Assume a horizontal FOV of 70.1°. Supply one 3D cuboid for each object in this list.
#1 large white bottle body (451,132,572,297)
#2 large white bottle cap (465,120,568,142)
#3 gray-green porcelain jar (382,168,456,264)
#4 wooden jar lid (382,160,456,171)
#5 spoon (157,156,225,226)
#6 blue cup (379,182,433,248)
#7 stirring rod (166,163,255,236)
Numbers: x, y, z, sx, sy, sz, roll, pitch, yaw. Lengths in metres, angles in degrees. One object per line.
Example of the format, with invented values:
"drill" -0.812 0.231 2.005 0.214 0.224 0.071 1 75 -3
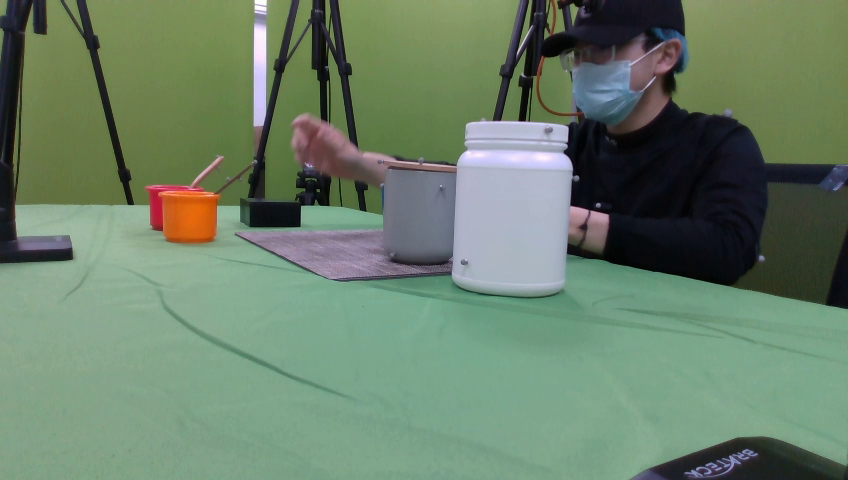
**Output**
"large white bottle body" 0.099 -0.037 0.688 0.131 0.184 0.130 2 7 0
"large white bottle cap" 0.103 -0.121 0.677 0.115 0.018 0.115 3 7 0
"gray-green porcelain jar" -0.005 -0.034 0.834 0.106 0.126 0.106 3 7 0
"wooden jar lid" -0.003 -0.096 0.826 0.108 0.020 0.108 4 10 0
"spoon" -0.425 -0.094 1.118 0.041 0.022 0.194 3 51 31
"blue cup" -0.030 -0.041 0.979 0.093 0.100 0.092 2 9 0
"stirring rod" -0.341 -0.066 0.967 0.176 0.006 0.014 -42 23 -9
